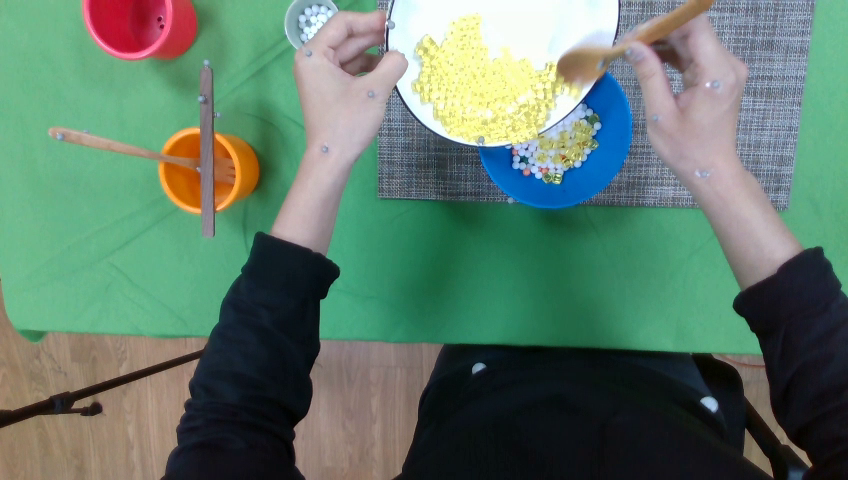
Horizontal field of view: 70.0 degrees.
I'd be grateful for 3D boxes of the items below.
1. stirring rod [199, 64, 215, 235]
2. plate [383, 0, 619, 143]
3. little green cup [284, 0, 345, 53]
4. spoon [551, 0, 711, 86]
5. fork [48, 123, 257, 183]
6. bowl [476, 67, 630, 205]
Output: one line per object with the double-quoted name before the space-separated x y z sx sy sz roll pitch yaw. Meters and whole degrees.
"stirring rod" -0.226 -0.092 0.632 0.014 0.006 0.176 4 102 4
"plate" 0.065 -0.185 0.529 0.209 0.037 0.211 -8 130 -10
"little green cup" -0.115 -0.231 0.652 0.061 0.038 0.062 1 102 7
"spoon" 0.157 -0.155 0.479 0.042 0.193 0.021 27 85 -15
"fork" -0.277 -0.091 0.641 0.209 0.018 0.028 10 109 -40
"bowl" 0.129 -0.114 0.627 0.151 0.076 0.152 1 100 7
